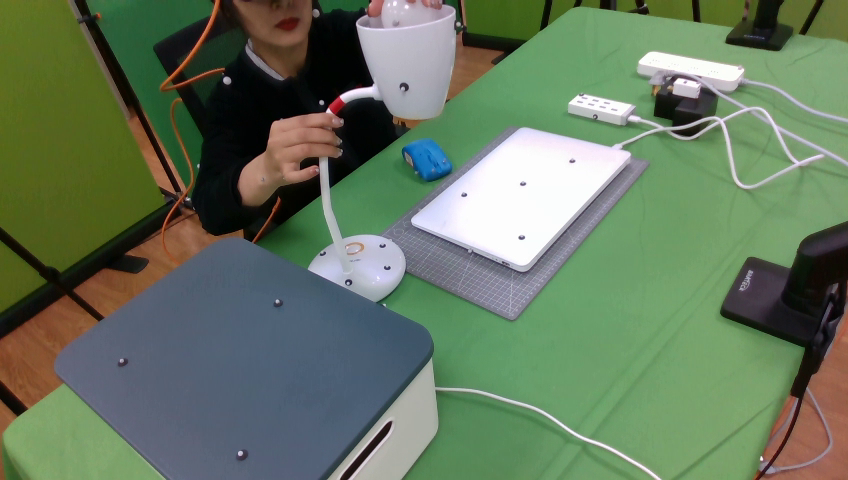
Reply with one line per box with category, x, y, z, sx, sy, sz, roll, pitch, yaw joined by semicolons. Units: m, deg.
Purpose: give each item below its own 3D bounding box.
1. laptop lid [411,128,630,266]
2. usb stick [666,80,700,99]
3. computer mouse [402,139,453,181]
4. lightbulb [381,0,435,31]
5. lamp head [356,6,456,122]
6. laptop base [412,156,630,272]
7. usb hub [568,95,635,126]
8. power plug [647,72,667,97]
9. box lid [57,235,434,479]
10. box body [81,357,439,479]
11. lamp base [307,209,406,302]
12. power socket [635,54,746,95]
laptop lid;0.172;-0.093;1.049;0.239;0.013;0.358;24;50;36
usb stick;0.492;-0.288;1.152;0.058;0.027;0.021;20;50;34
computer mouse;0.005;-0.159;1.165;0.063;0.041;0.116;-21;45;-17
lightbulb;-0.015;-0.228;0.687;0.059;0.108;0.059;-6;29;3
lamp head;-0.018;-0.199;0.701;0.112;0.123;0.112;-1;33;1
laptop base;0.176;-0.083;1.055;0.233;0.023;0.355;21;48;36
usb hub;0.360;-0.264;1.228;0.124;0.025;0.049;24;49;34
power plug;0.493;-0.321;1.261;0.073;0.052;0.035;1;20;-41
box lid;-0.198;0.123;0.653;0.368;0.015;0.264;22;49;32
box body;-0.189;0.179;0.702;0.361;0.161;0.255;22;49;32
lamp base;-0.116;-0.003;0.889;0.161;0.181;0.178;-15;43;-5
power socket;0.564;-0.357;1.293;0.225;0.033;0.072;24;51;33
